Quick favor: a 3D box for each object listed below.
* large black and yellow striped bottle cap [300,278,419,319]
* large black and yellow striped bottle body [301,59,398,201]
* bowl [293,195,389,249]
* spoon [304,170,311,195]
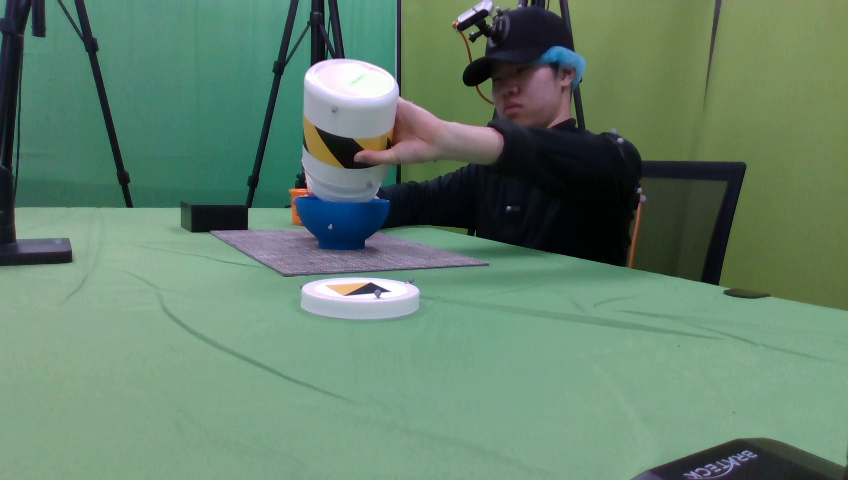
[{"bbox_3d":[-0.062,0.055,0.588,0.115,0.019,0.115,1,6,0],"label":"large black and yellow striped bottle cap"},{"bbox_3d":[-0.114,-0.156,0.891,0.131,0.184,0.130,7,40,-6],"label":"large black and yellow striped bottle body"},{"bbox_3d":[-0.132,-0.030,0.962,0.151,0.077,0.151,2,7,0],"label":"bowl"},{"bbox_3d":[-0.257,-0.113,1.341,0.042,0.193,0.021,3,-38,-18],"label":"spoon"}]
